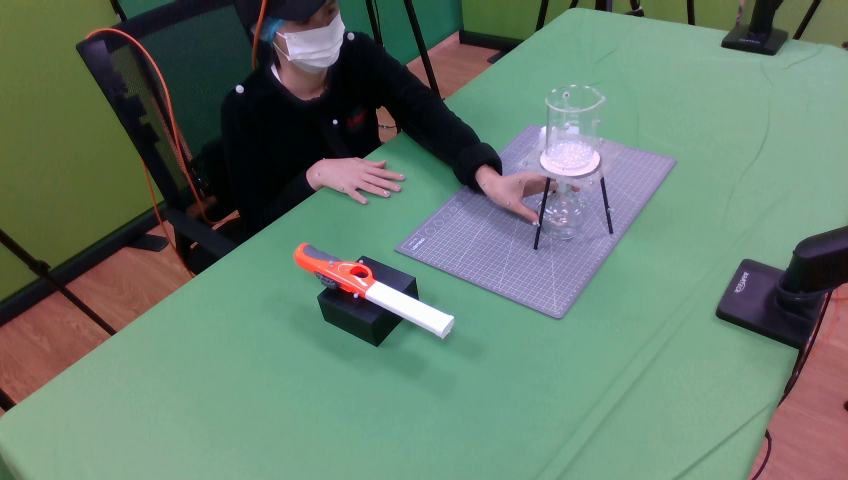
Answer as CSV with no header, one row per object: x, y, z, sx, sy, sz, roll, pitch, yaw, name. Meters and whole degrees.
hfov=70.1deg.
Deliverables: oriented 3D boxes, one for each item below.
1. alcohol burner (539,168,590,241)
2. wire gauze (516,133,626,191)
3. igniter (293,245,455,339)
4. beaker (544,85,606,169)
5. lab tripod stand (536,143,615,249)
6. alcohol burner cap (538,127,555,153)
0.217,-0.059,0.935,0.078,0.119,0.077,-6,40,6,alcohol burner
0.217,-0.122,0.893,0.124,0.011,0.122,20,47,32,wire gauze
-0.079,0.066,0.834,0.274,0.025,0.057,23,48,27,igniter
0.212,-0.158,0.861,0.084,0.101,0.073,-3,41,6,beaker
0.224,-0.069,0.931,0.148,0.132,0.147,-4,42,4,lab tripod stand
0.234,-0.191,1.147,0.034,0.048,0.033,-5,40,5,alcohol burner cap
